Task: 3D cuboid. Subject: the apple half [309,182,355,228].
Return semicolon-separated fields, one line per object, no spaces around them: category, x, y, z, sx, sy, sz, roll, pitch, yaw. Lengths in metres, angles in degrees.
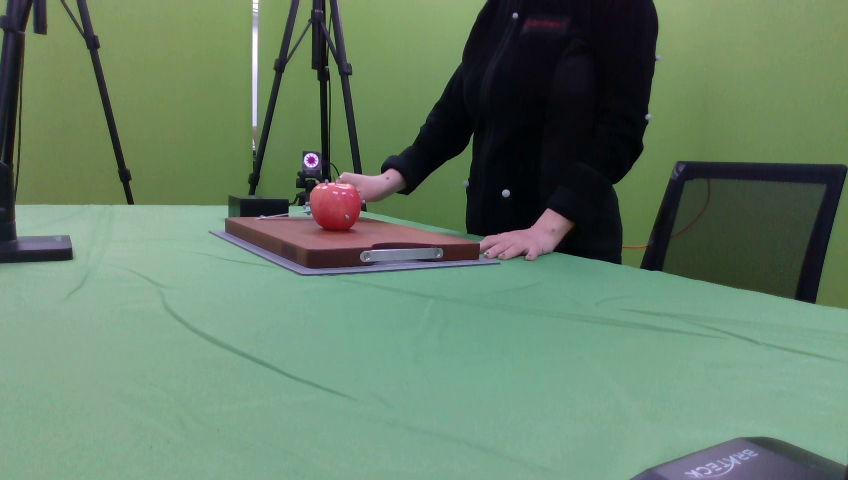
apple half;-0.153;-0.058;0.978;0.082;0.081;0.032;-2;11;-28

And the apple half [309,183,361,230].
apple half;-0.135;-0.052;0.945;0.081;0.074;0.053;3;11;-29

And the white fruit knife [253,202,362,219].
white fruit knife;-0.210;-0.054;1.101;0.208;0.016;0.027;-11;7;-34
